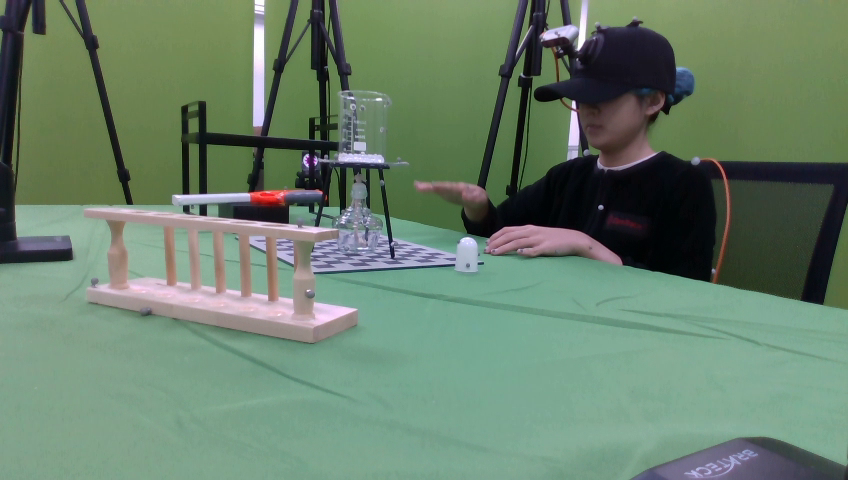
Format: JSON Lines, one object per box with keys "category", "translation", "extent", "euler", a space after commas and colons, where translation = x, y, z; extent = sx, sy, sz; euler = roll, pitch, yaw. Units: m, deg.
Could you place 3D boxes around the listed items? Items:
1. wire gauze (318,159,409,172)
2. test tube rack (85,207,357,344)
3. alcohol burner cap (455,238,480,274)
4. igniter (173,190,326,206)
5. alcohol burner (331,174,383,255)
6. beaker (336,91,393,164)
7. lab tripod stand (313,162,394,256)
{"category": "wire gauze", "translation": [-0.091, -0.112, 0.887], "extent": [0.122, 0.011, 0.124], "euler": [3, 3, -15]}
{"category": "test tube rack", "translation": [-0.177, 0.022, 0.518], "extent": [0.241, 0.085, 0.067], "euler": [6, 7, 23]}
{"category": "alcohol burner cap", "translation": [0.058, 0.022, 0.798], "extent": [0.034, 0.048, 0.034], "euler": [3, 7, 0]}
{"category": "igniter", "translation": [-0.317, -0.079, 1.128], "extent": [0.278, 0.025, 0.057], "euler": [-4, 13, -32]}
{"category": "alcohol burner", "translation": [-0.098, -0.038, 0.895], "extent": [0.078, 0.119, 0.078], "euler": [4, 9, 0]}
{"category": "beaker", "translation": [-0.087, -0.160, 0.878], "extent": [0.084, 0.100, 0.073], "euler": [0, 6, -24]}
{"category": "lab tripod stand", "translation": [-0.098, -0.048, 0.897], "extent": [0.148, 0.131, 0.148], "euler": [1, 6, 0]}
